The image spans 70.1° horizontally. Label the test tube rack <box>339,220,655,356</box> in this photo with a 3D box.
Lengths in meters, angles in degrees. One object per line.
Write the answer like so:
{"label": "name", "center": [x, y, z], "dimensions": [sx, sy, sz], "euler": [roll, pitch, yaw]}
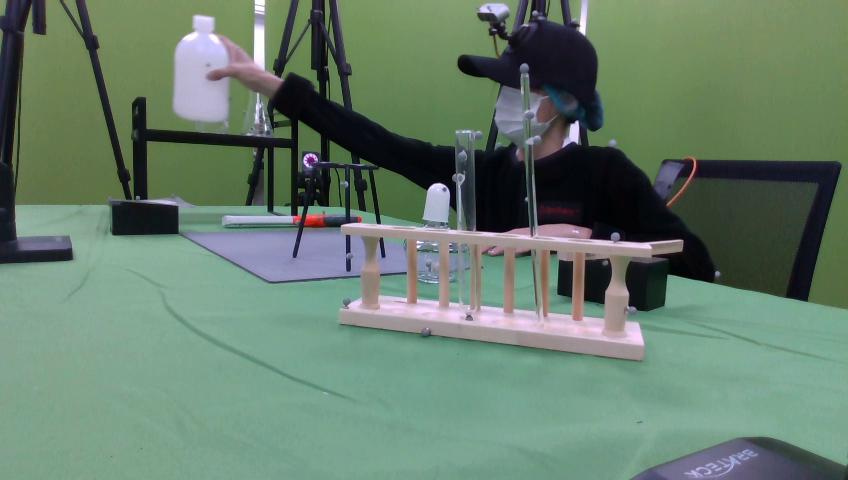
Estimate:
{"label": "test tube rack", "center": [0.056, 0.032, 0.495], "dimensions": [0.242, 0.085, 0.067], "euler": [4, 7, 15]}

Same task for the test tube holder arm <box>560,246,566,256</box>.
{"label": "test tube holder arm", "center": [0.173, 0.007, 0.611], "dimensions": [0.088, 0.015, 0.010], "euler": [-3, 9, -30]}

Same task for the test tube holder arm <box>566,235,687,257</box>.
{"label": "test tube holder arm", "center": [0.215, 0.006, 0.630], "dimensions": [0.179, 0.015, 0.013], "euler": [-3, 9, -30]}

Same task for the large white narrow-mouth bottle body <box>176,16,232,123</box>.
{"label": "large white narrow-mouth bottle body", "center": [-0.428, -0.335, 1.180], "dimensions": [0.102, 0.194, 0.101], "euler": [9, 21, -3]}

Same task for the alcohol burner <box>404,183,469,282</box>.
{"label": "alcohol burner", "center": [0.015, -0.011, 0.715], "dimensions": [0.078, 0.119, 0.078], "euler": [0, 7, 0]}

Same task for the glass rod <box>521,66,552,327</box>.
{"label": "glass rod", "center": [0.085, -0.028, 0.454], "dimensions": [0.008, 0.199, 0.008], "euler": [-7, 10, 2]}

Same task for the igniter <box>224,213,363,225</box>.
{"label": "igniter", "center": [-0.255, -0.042, 1.210], "dimensions": [0.278, 0.025, 0.057], "euler": [-2, -2, -31]}

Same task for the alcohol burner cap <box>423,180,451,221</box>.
{"label": "alcohol burner cap", "center": [0.017, -0.047, 0.711], "dimensions": [0.034, 0.048, 0.034], "euler": [8, 5, 0]}

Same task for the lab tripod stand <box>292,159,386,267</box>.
{"label": "lab tripod stand", "center": [-0.105, -0.039, 0.798], "dimensions": [0.148, 0.131, 0.148], "euler": [2, 5, 0]}

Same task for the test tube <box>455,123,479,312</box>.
{"label": "test tube", "center": [0.034, -0.016, 0.476], "dimensions": [0.017, 0.150, 0.017], "euler": [-2, 10, 1]}

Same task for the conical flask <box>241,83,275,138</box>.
{"label": "conical flask", "center": [-0.383, -0.297, 1.392], "dimensions": [0.075, 0.122, 0.075], "euler": [2, 7, 0]}

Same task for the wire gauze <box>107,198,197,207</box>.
{"label": "wire gauze", "center": [-0.462, -0.064, 1.022], "dimensions": [0.126, 0.011, 0.121], "euler": [-2, 7, -32]}

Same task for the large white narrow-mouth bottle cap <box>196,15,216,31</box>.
{"label": "large white narrow-mouth bottle cap", "center": [-0.415, -0.412, 1.150], "dimensions": [0.038, 0.024, 0.037], "euler": [9, 21, -3]}

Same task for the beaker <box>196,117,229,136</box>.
{"label": "beaker", "center": [-0.472, -0.284, 1.353], "dimensions": [0.074, 0.100, 0.083], "euler": [-4, 10, -35]}
